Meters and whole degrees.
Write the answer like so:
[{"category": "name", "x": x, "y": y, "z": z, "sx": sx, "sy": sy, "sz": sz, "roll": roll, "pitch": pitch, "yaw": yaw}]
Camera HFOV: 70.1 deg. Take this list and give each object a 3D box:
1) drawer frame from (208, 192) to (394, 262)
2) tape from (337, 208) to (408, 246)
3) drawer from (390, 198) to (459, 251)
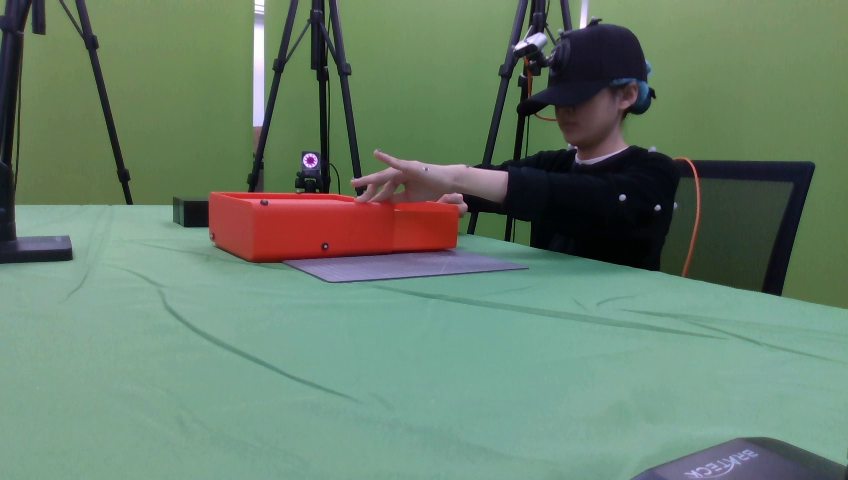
[{"category": "drawer frame", "x": -0.185, "y": -0.026, "z": 0.899, "sx": 0.215, "sy": 0.082, "sz": 0.200, "roll": -3, "pitch": 10, "yaw": -35}, {"category": "tape", "x": -0.086, "y": -0.023, "z": 0.980, "sx": 0.117, "sy": 0.052, "sz": 0.117, "roll": 3, "pitch": 7, "yaw": 0}, {"category": "drawer", "x": -0.084, "y": -0.028, "z": 0.971, "sx": 0.213, "sy": 0.073, "sz": 0.193, "roll": -2, "pitch": 9, "yaw": -35}]
